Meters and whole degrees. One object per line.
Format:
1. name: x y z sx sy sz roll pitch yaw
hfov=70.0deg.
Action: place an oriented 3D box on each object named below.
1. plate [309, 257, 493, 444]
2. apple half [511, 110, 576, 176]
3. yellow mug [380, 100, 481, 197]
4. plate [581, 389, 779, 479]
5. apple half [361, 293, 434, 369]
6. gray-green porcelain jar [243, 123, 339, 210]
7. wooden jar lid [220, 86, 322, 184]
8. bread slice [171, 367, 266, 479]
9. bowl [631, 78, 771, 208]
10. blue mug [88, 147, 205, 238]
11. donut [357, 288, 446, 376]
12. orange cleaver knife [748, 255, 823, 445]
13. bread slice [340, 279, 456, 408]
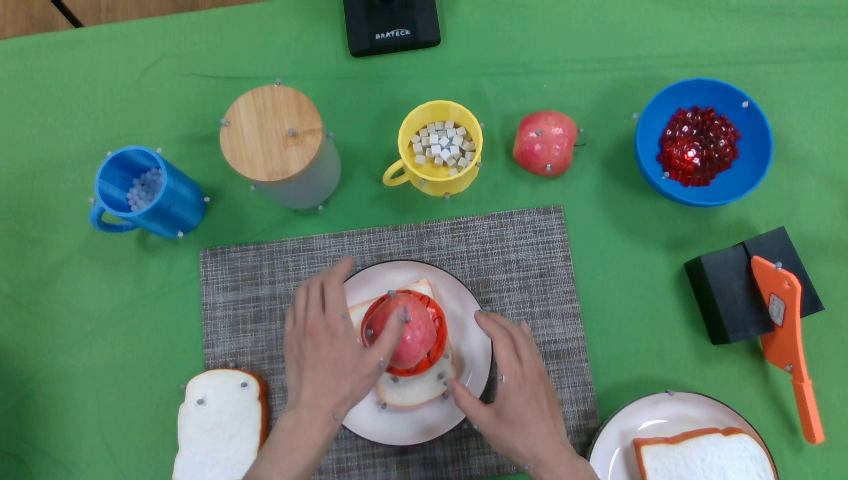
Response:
1. plate: -0.026 0.125 0.696 0.207 0.039 0.206 -1 79 3
2. apple half: 0.146 -0.123 0.735 0.074 0.053 0.080 15 80 8
3. yellow mug: 0.005 -0.101 0.730 0.131 0.064 0.099 -31 79 -3
4. plate: 0.274 0.267 0.658 0.209 0.038 0.208 -1 79 3
5. apple half: -0.029 0.097 0.637 0.081 0.033 0.081 -1 81 9
6. gray-green porcelain jar: -0.158 -0.096 0.705 0.106 0.127 0.105 0 78 3
7. wooden jar lid: -0.161 -0.110 0.644 0.108 0.021 0.108 -1 77 3
8. bread slice: -0.236 0.214 0.698 0.105 0.019 0.131 1 80 2
9. bowl: 0.311 -0.103 0.710 0.151 0.077 0.150 0 79 3
10. blue mug: -0.332 -0.044 0.712 0.116 0.106 0.082 -33 78 -4
11. donut: -0.025 0.102 0.672 0.099 0.048 0.098 0 79 2
12. orange cleaver knife: 0.392 0.119 0.660 0.012 0.077 0.212 -18 100 -8
13. bread slice: -0.022 0.122 0.696 0.107 0.018 0.133 -24 80 -1
